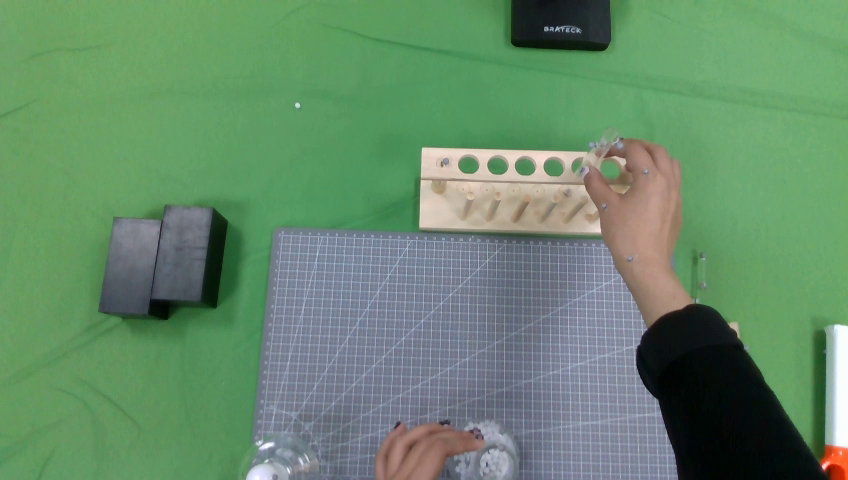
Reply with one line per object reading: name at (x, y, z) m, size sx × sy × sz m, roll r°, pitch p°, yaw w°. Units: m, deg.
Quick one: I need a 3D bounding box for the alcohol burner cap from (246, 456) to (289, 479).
alcohol burner cap at (-0.140, 0.206, 0.532) m, size 0.034 × 0.048 × 0.033 m, roll 1°, pitch 68°, yaw -1°

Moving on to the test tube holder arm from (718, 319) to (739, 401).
test tube holder arm at (0.330, 0.129, 0.653) m, size 0.010 × 0.015 × 0.087 m, roll -11°, pitch 76°, yaw 33°

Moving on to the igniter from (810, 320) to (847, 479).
igniter at (0.428, 0.221, 0.628) m, size 0.057 × 0.025 × 0.275 m, roll 12°, pitch 77°, yaw -8°

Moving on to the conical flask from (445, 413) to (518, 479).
conical flask at (0.059, 0.203, 0.571) m, size 0.075 × 0.122 × 0.075 m, roll 0°, pitch 76°, yaw -1°

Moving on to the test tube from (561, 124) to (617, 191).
test tube at (0.163, -0.079, 0.611) m, size 0.017 × 0.151 × 0.017 m, roll 0°, pitch 76°, yaw -1°

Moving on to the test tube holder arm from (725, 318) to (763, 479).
test tube holder arm at (0.338, 0.172, 0.640) m, size 0.013 × 0.015 × 0.177 m, roll -14°, pitch 75°, yaw 32°

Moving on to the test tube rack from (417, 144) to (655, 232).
test tube rack at (0.115, -0.054, 0.655) m, size 0.242 × 0.085 × 0.066 m, roll 2°, pitch 76°, yaw -1°

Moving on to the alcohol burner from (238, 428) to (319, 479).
alcohol burner at (-0.140, 0.217, 0.567) m, size 0.078 × 0.119 × 0.077 m, roll 0°, pitch 75°, yaw 1°

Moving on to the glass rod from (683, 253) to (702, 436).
glass rod at (0.293, 0.111, 0.659) m, size 0.008 × 0.008 × 0.199 m, roll 9°, pitch 79°, yaw 1°
